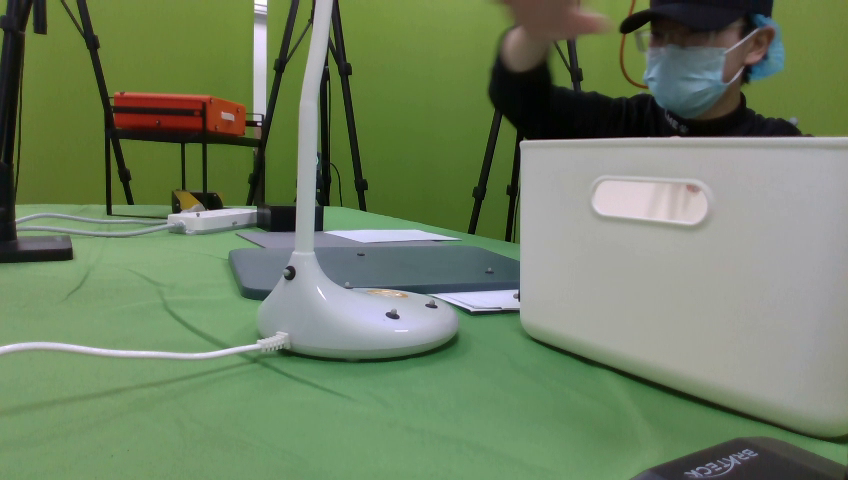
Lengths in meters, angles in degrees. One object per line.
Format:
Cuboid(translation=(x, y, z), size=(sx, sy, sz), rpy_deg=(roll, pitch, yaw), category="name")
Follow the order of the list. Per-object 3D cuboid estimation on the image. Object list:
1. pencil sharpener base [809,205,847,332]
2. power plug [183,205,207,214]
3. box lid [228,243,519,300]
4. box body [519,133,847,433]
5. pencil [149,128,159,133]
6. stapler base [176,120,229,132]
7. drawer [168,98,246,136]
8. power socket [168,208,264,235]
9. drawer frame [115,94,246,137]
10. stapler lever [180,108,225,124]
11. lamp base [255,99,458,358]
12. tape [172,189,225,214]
Cuboid(translation=(0.386, 0.026, 0.518), size=(0.062, 0.107, 0.076), rpy_deg=(-4, 11, -44), category="pencil sharpener base")
Cuboid(translation=(-0.455, -0.041, 1.196), size=(0.052, 0.035, 0.072), rpy_deg=(1, 42, 23), category="power plug")
Cuboid(translation=(-0.044, 0.033, 0.757), size=(0.373, 0.015, 0.262), rpy_deg=(-1, 9, -22), category="box lid")
Cuboid(translation=(0.279, 0.005, 0.485), size=(0.366, 0.160, 0.253), rpy_deg=(-3, 9, -36), category="box body")
Cuboid(translation=(-0.528, -0.258, 1.361), size=(0.012, 0.012, 0.195), rpy_deg=(8, 20, 35), category="pencil")
Cuboid(translation=(-0.496, -0.257, 1.364), size=(0.041, 0.024, 0.131), rpy_deg=(2, 9, 22), category="stapler base")
Cuboid(translation=(-0.539, -0.279, 1.374), size=(0.212, 0.073, 0.194), rpy_deg=(2, 8, 5), category="drawer")
Cuboid(translation=(-0.381, -0.038, 1.129), size=(0.072, 0.032, 0.227), rpy_deg=(4, 8, 17), category="power socket")
Cuboid(translation=(-0.543, -0.281, 1.374), size=(0.213, 0.082, 0.201), rpy_deg=(2, 8, 4), category="drawer frame")
Cuboid(translation=(-0.496, -0.281, 1.359), size=(0.027, 0.040, 0.118), rpy_deg=(2, 7, 22), category="stapler lever")
Cuboid(translation=(-0.056, -0.013, 0.462), size=(0.160, 0.180, 0.180), rpy_deg=(6, 11, 27), category="lamp base")
Cuboid(translation=(-0.515, -0.087, 1.388), size=(0.117, 0.052, 0.117), rpy_deg=(3, 8, 0), category="tape")
